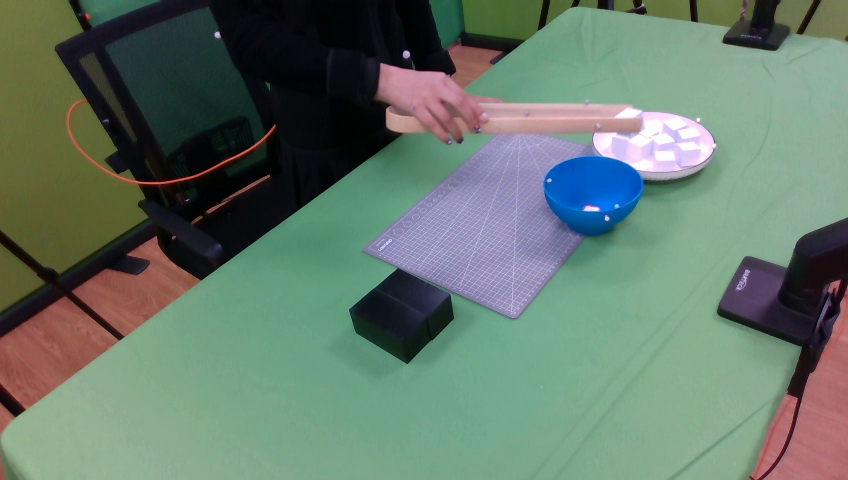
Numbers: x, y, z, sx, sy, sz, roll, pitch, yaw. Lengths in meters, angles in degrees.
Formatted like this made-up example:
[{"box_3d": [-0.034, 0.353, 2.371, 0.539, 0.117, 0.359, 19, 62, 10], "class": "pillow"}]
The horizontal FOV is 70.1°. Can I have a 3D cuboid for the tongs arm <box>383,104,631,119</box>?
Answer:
[{"box_3d": [0.131, -0.189, 0.930, 0.385, 0.026, 0.050, 2, 33, 0], "class": "tongs arm"}]

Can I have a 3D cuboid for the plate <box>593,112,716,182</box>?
[{"box_3d": [0.408, -0.163, 1.084, 0.207, 0.039, 0.206, -4, 40, 4], "class": "plate"}]

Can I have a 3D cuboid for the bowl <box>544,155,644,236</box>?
[{"box_3d": [0.266, -0.061, 0.957, 0.151, 0.077, 0.150, -5, 40, 5], "class": "bowl"}]

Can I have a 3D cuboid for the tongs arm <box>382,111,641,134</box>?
[{"box_3d": [0.132, -0.175, 0.906, 0.388, 0.028, 0.028, 0, 37, -2], "class": "tongs arm"}]
